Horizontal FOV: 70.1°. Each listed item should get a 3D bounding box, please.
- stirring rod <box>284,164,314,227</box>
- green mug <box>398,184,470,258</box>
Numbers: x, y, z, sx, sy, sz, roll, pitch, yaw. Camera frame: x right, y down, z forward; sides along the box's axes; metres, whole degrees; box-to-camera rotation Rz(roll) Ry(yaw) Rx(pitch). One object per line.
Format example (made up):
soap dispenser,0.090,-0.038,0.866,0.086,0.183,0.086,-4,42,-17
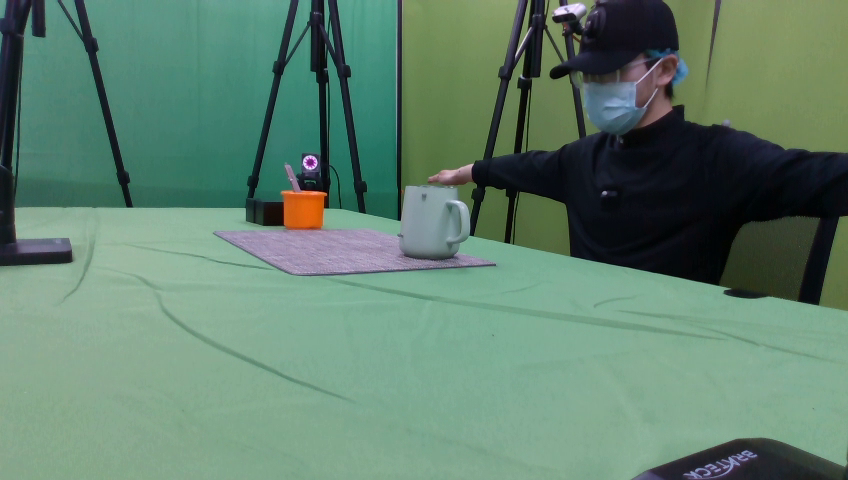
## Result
stirring rod,-0.259,-0.094,1.243,0.014,0.006,0.175,1,49,-39
green mug,0.020,-0.028,0.890,0.093,0.105,0.124,-4,10,-42
